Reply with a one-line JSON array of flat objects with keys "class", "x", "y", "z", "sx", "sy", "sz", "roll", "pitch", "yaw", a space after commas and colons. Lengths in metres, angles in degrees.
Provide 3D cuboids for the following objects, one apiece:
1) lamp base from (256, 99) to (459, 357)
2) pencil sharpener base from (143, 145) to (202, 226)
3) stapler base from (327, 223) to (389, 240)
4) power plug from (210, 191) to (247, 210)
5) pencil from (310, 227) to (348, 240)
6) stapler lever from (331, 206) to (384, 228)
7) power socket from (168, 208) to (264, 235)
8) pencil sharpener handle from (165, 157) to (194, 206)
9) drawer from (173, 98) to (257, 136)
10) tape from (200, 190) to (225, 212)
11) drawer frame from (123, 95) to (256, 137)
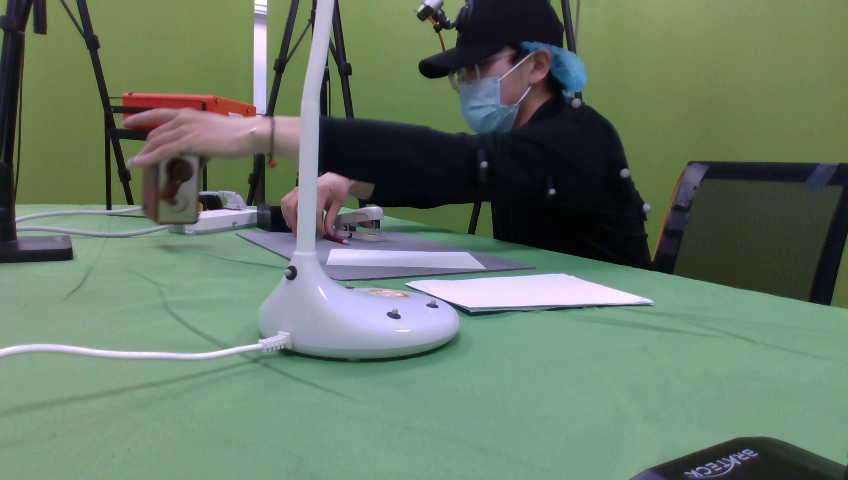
[{"class": "lamp base", "x": -0.055, "y": -0.013, "z": 0.463, "sx": 0.160, "sy": 0.180, "sz": 0.180, "roll": 6, "pitch": 11, "yaw": 27}, {"class": "pencil sharpener base", "x": -0.365, "y": -0.078, "z": 0.878, "sx": 0.062, "sy": 0.107, "sz": 0.076, "roll": -2, "pitch": 15, "yaw": -40}, {"class": "stapler base", "x": -0.117, "y": -0.019, "z": 1.072, "sx": 0.130, "sy": 0.024, "sz": 0.041, "roll": 7, "pitch": 8, "yaw": 41}, {"class": "power plug", "x": -0.386, "y": -0.071, "z": 1.204, "sx": 0.072, "sy": 0.052, "sz": 0.035, "roll": 7, "pitch": 8, "yaw": 26}, {"class": "pencil", "x": -0.172, "y": -0.012, "z": 1.041, "sx": 0.012, "sy": 0.012, "sz": 0.193, "roll": -3, "pitch": 7, "yaw": -32}, {"class": "stapler lever", "x": -0.118, "y": -0.043, "z": 1.070, "sx": 0.117, "sy": 0.040, "sz": 0.027, "roll": 7, "pitch": 8, "yaw": 41}, {"class": "power socket", "x": -0.381, "y": -0.038, "z": 1.129, "sx": 0.072, "sy": 0.032, "sz": 0.227, "roll": 4, "pitch": 8, "yaw": 17}, {"class": "pencil sharpener handle", "x": -0.335, "y": -0.080, "z": 0.834, "sx": 0.036, "sy": 0.067, "sz": 0.030, "roll": 26, "pitch": -4, "yaw": -42}, {"class": "drawer", "x": -0.518, "y": -0.279, "z": 1.376, "sx": 0.211, "sy": 0.073, "sz": 0.195, "roll": 3, "pitch": 8, "yaw": 10}, {"class": "tape", "x": -0.515, "y": -0.087, "z": 1.388, "sx": 0.117, "sy": 0.052, "sz": 0.117, "roll": 3, "pitch": 7, "yaw": 0}, {"class": "drawer frame", "x": -0.524, "y": -0.281, "z": 1.376, "sx": 0.213, "sy": 0.082, "sz": 0.202, "roll": 3, "pitch": 8, "yaw": 8}]
